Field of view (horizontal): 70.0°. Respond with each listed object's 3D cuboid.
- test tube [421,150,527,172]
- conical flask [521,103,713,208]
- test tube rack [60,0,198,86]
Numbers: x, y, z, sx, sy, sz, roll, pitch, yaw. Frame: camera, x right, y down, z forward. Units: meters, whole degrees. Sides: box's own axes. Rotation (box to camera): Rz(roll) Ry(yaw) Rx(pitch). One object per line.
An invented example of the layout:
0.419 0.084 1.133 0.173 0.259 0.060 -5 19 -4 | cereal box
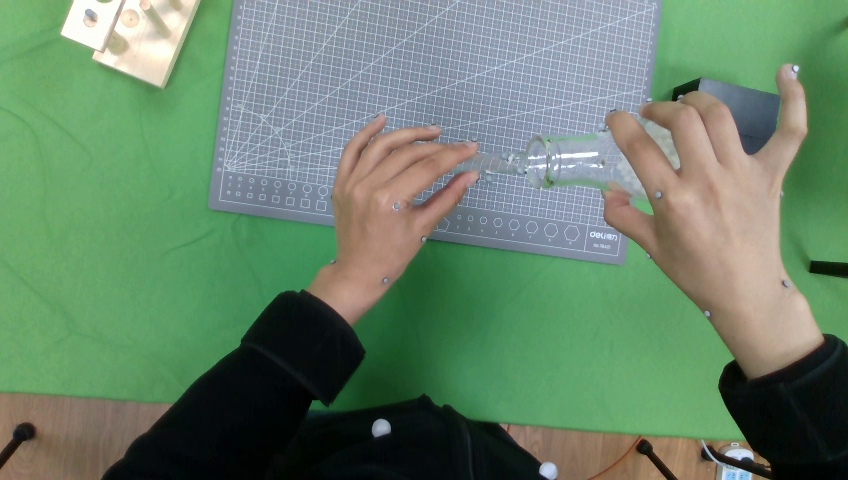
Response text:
0.035 -0.064 0.490 0.017 0.149 0.017 -4 99 -26 | test tube
0.131 -0.058 0.424 0.122 0.075 0.075 -3 93 -17 | conical flask
-0.231 -0.272 0.544 0.067 0.085 0.242 22 89 -11 | test tube rack
